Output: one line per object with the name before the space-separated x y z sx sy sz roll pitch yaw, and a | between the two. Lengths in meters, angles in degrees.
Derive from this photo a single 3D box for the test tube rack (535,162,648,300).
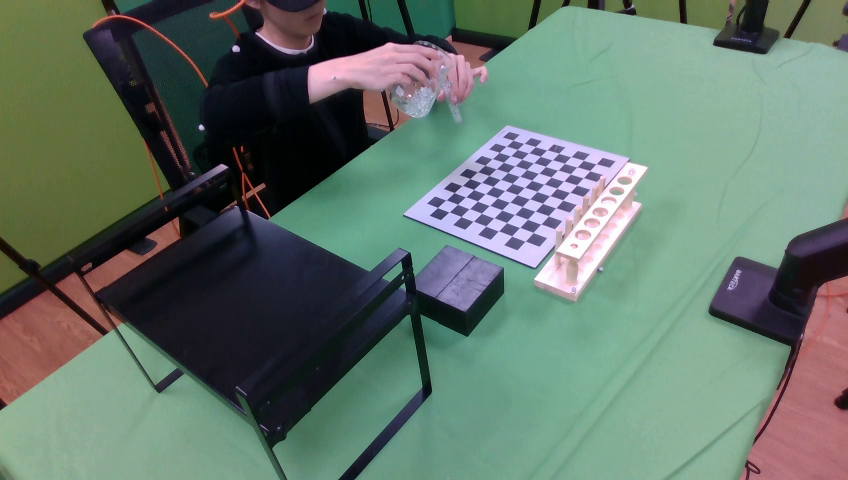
test tube rack | 0.257 -0.024 0.916 0.066 0.085 0.243 22 49 30

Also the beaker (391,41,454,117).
beaker | -0.004 -0.257 0.986 0.073 0.084 0.100 22 81 25

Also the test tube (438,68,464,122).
test tube | 0.050 -0.258 1.091 0.017 0.151 0.017 -6 66 14
